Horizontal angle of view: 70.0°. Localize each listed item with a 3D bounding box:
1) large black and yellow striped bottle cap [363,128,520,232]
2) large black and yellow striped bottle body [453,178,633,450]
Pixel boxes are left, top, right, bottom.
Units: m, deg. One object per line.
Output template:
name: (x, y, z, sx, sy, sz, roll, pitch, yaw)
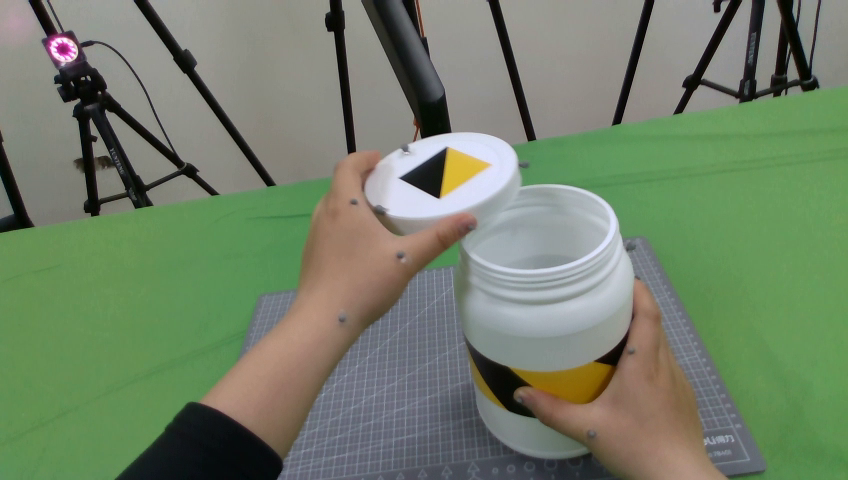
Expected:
large black and yellow striped bottle cap: (0.012, -0.047, 0.443, 0.115, 0.019, 0.114, -9, 38, 7)
large black and yellow striped bottle body: (0.094, 0.057, 0.470, 0.130, 0.186, 0.129, -9, 36, 7)
